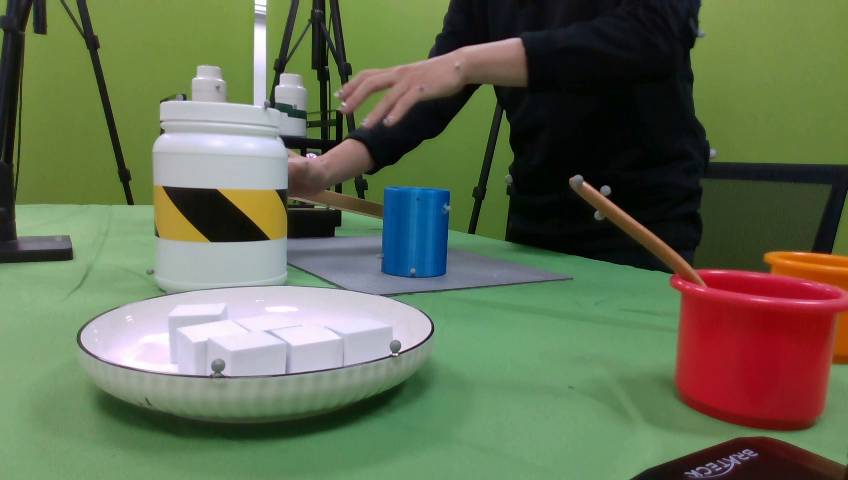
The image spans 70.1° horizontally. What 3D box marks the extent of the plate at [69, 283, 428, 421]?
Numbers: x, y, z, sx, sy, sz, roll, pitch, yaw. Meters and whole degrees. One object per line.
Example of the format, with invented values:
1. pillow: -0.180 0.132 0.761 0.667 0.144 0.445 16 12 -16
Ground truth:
1. plate: -0.102 0.066 0.381 0.208 0.039 0.207 2 7 0

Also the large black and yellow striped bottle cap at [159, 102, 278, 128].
1. large black and yellow striped bottle cap: -0.207 -0.125 0.615 0.115 0.019 0.115 2 6 0

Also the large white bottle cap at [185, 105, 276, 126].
1. large white bottle cap: -0.254 -0.164 0.798 0.115 0.018 0.114 6 13 -1

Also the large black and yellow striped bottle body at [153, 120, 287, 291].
1. large black and yellow striped bottle body: -0.208 -0.042 0.626 0.131 0.184 0.130 2 7 0

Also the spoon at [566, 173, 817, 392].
1. spoon: 0.161 0.024 0.370 0.193 0.021 0.042 47 18 3

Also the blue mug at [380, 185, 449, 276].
1. blue mug: -0.018 -0.016 0.764 0.083 0.106 0.116 -2 8 -25

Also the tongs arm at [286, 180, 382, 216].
1. tongs arm: -0.122 -0.066 1.147 0.387 0.026 0.050 11 -2 -37

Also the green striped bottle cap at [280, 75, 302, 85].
1. green striped bottle cap: -0.267 -0.320 1.216 0.044 0.020 0.044 3 8 0

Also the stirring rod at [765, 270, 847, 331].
1. stirring rod: 0.352 0.020 0.484 0.176 0.006 0.014 -40 -7 12

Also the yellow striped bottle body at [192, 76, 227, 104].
1. yellow striped bottle body: -0.414 -0.268 1.169 0.063 0.120 0.063 2 7 0

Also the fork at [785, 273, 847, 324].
1. fork: 0.332 0.018 0.444 0.028 0.018 0.207 -2 -35 -15

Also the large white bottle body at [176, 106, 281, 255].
1. large white bottle body: -0.263 -0.083 0.817 0.131 0.184 0.130 6 12 -1

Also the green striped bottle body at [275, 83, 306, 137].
1. green striped bottle body: -0.269 -0.269 1.221 0.063 0.119 0.063 2 7 0

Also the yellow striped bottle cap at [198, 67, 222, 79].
1. yellow striped bottle cap: -0.412 -0.320 1.162 0.044 0.018 0.044 0 5 0

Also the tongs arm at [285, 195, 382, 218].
1. tongs arm: -0.165 -0.074 1.216 0.389 0.027 0.028 11 -6 -24
